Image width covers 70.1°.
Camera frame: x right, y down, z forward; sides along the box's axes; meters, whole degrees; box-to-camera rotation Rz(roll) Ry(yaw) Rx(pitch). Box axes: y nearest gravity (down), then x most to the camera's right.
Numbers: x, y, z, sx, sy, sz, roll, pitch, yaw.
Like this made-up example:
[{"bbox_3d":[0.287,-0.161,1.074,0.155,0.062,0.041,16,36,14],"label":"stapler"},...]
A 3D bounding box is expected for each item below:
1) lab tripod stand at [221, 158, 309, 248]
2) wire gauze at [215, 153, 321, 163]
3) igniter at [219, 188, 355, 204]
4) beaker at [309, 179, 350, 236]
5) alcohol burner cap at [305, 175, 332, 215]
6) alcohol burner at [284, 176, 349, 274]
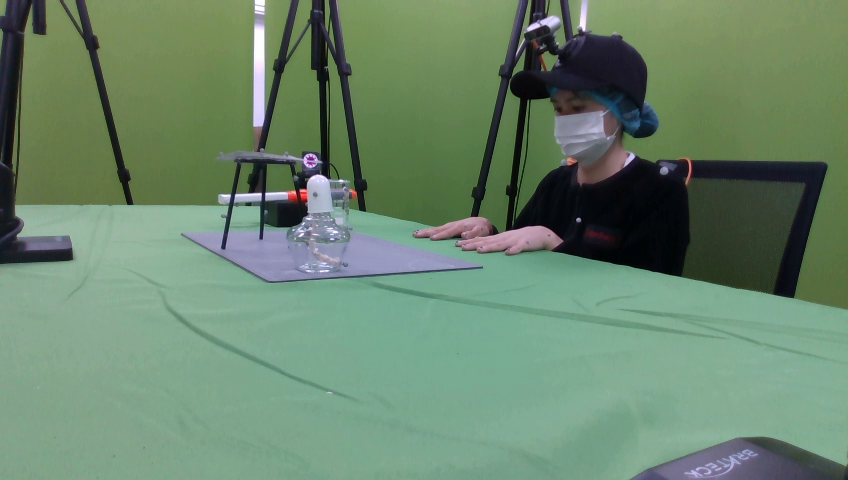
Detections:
[{"bbox_3d":[-0.244,-0.057,0.917,0.148,0.131,0.148,1,7,0],"label":"lab tripod stand"},{"bbox_3d":[-0.235,-0.123,0.906,0.126,0.011,0.121,-2,7,-33],"label":"wire gauze"},{"bbox_3d":[-0.274,-0.089,1.237,0.278,0.025,0.057,-5,11,-30],"label":"igniter"},{"bbox_3d":[-0.176,-0.060,1.104,0.073,0.100,0.084,8,10,39],"label":"beaker"},{"bbox_3d":[-0.130,-0.054,0.733,0.034,0.048,0.034,-4,8,1],"label":"alcohol burner cap"},{"bbox_3d":[-0.130,-0.019,0.738,0.078,0.119,0.078,4,5,0],"label":"alcohol burner"}]
